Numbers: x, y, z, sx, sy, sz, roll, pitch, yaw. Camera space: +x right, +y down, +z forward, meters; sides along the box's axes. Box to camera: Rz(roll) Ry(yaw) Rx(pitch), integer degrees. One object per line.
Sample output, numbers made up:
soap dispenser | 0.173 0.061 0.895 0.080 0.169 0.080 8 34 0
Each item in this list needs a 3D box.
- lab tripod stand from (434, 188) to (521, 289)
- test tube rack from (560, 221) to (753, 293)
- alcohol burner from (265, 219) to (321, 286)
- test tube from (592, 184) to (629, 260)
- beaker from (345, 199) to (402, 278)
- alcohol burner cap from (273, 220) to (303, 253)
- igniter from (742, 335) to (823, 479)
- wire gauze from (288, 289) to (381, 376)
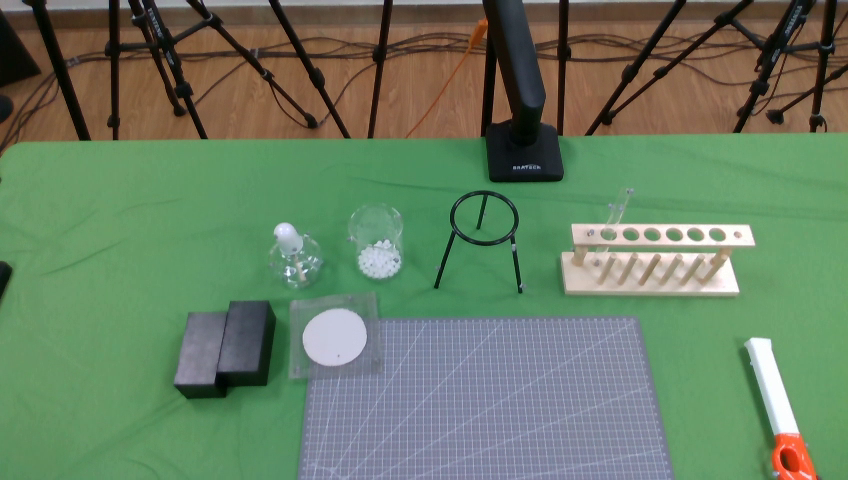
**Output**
lab tripod stand | 0.076 -0.001 0.837 0.148 0.132 0.147 -1 56 2
test tube rack | 0.322 0.025 0.849 0.242 0.086 0.066 0 57 0
alcohol burner | -0.184 0.012 0.839 0.078 0.120 0.077 0 55 0
test tube | 0.250 -0.020 0.818 0.017 0.151 0.017 0 53 0
beaker | -0.065 0.004 0.854 0.074 0.101 0.083 -27 62 -16
alcohol burner cap | -0.183 -0.007 0.808 0.034 0.048 0.033 -3 61 5
igniter | 0.444 0.245 0.740 0.057 0.025 0.274 6 57 -9
wire gauze | -0.124 0.125 0.825 0.125 0.011 0.120 -5 56 -3
